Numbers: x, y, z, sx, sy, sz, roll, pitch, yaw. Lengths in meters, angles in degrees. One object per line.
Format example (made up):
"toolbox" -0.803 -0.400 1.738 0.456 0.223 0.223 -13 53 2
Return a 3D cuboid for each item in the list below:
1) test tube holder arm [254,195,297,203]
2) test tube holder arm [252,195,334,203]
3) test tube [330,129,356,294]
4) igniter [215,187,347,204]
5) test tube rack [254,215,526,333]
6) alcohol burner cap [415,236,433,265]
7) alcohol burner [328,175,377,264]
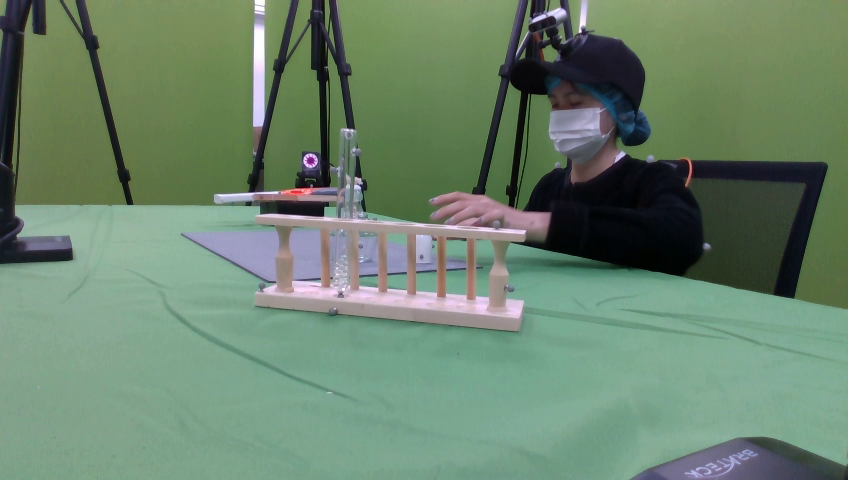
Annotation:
"test tube holder arm" -0.294 -0.081 1.195 0.088 0.015 0.010 -5 12 -38
"test tube holder arm" -0.262 -0.085 1.228 0.179 0.015 0.013 -5 12 -40
"test tube" -0.074 -0.025 0.548 0.017 0.150 0.017 4 6 0
"igniter" -0.289 -0.093 1.255 0.278 0.025 0.057 -6 11 -34
"test tube rack" -0.030 0.025 0.558 0.242 0.085 0.067 4 7 12
"alcohol burner cap" -0.004 0.011 0.835 0.034 0.048 0.034 2 7 0
"alcohol burner" -0.098 -0.028 0.819 0.078 0.119 0.078 1 8 0
